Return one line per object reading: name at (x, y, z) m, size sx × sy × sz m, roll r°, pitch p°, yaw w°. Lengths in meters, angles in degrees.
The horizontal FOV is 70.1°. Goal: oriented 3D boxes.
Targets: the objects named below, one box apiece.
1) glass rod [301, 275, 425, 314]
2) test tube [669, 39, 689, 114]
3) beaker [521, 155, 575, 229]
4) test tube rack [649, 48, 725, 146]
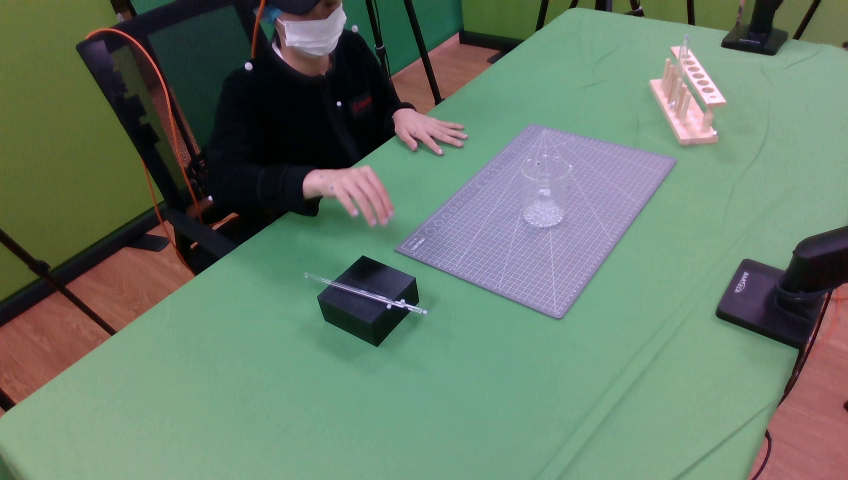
glass rod at (-0.088, 0.074, 0.833) m, size 0.198 × 0.008 × 0.008 m, roll 14°, pitch 44°, yaw 23°
test tube at (0.482, -0.308, 1.146) m, size 0.017 × 0.151 × 0.017 m, roll -5°, pitch 42°, yaw 5°
beaker at (0.197, -0.075, 0.969) m, size 0.084 × 0.101 × 0.073 m, roll -6°, pitch 40°, yaw 2°
test tube rack at (0.508, -0.285, 1.186) m, size 0.067 × 0.085 × 0.241 m, roll -4°, pitch 40°, yaw 6°
